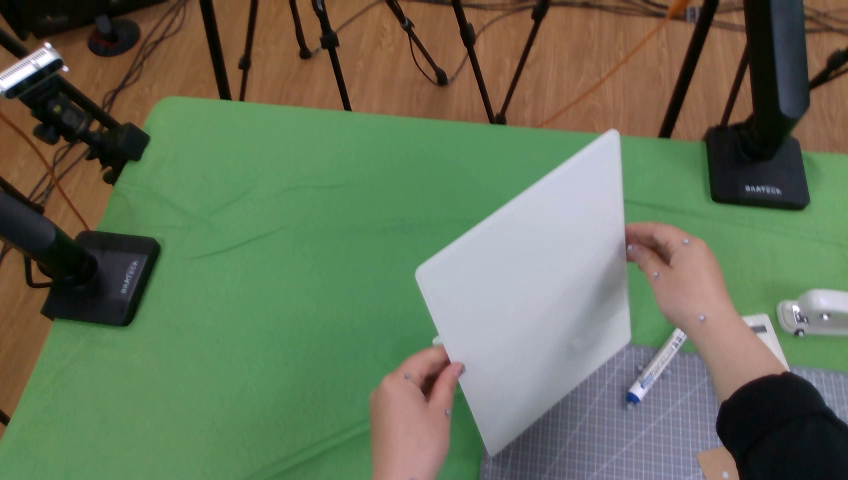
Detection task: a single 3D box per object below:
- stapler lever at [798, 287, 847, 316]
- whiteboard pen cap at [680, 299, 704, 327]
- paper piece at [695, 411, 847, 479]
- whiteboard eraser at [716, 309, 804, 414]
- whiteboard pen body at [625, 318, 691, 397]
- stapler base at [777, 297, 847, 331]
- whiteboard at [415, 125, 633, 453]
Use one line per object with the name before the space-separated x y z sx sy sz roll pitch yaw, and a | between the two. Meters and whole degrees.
stapler lever | 0.487 0.072 0.687 0.118 0.040 0.026 2 64 3
whiteboard pen cap | 0.315 0.087 0.714 0.018 0.018 0.033 36 69 20
paper piece | 0.371 0.262 0.624 0.136 0.009 0.137 -15 64 0
whiteboard eraser | 0.369 0.135 0.672 0.055 0.042 0.111 -7 61 1
whiteboard pen body | 0.276 0.125 0.696 0.017 0.017 0.140 38 70 21
stapler base | 0.486 0.084 0.708 0.130 0.024 0.041 2 65 2
whiteboard | 0.084 0.035 0.627 0.217 0.309 0.142 -34 45 -14
